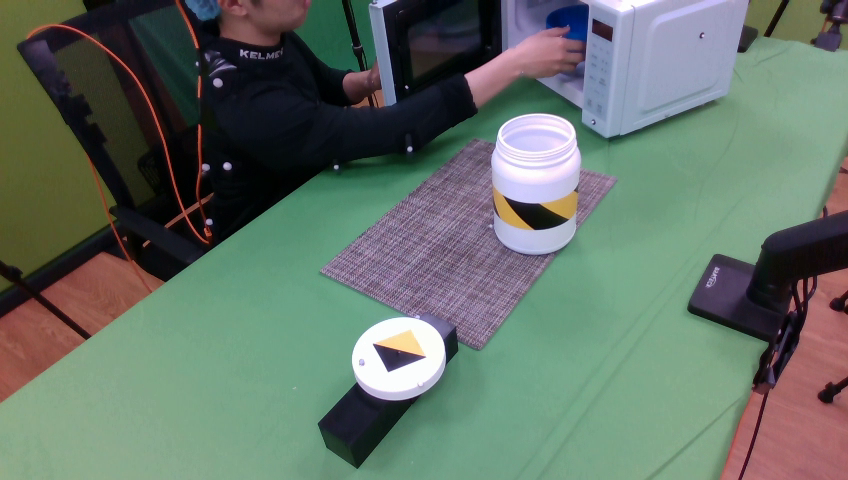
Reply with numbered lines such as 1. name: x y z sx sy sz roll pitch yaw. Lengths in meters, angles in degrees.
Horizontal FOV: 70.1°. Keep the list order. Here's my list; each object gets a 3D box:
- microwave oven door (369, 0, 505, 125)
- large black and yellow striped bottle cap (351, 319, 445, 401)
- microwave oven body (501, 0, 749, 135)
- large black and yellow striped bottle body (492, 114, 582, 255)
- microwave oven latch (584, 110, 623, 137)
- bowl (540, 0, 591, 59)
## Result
1. microwave oven door: 0.042 -0.425 1.263 0.039 0.245 0.357 29 52 34
2. large black and yellow striped bottle cap: -0.031 0.143 0.735 0.115 0.019 0.114 -3 40 3
3. microwave oven body: 0.382 -0.444 1.246 0.327 0.261 0.437 -22 42 -16
4. large black and yellow striped bottle body: 0.169 -0.083 0.912 0.131 0.185 0.130 -4 41 4
5. microwave oven latch: 0.337 -0.222 1.142 0.030 0.029 0.078 -21 42 -14
6. bowl: 0.328 -0.436 1.279 0.151 0.077 0.150 -13 39 12
